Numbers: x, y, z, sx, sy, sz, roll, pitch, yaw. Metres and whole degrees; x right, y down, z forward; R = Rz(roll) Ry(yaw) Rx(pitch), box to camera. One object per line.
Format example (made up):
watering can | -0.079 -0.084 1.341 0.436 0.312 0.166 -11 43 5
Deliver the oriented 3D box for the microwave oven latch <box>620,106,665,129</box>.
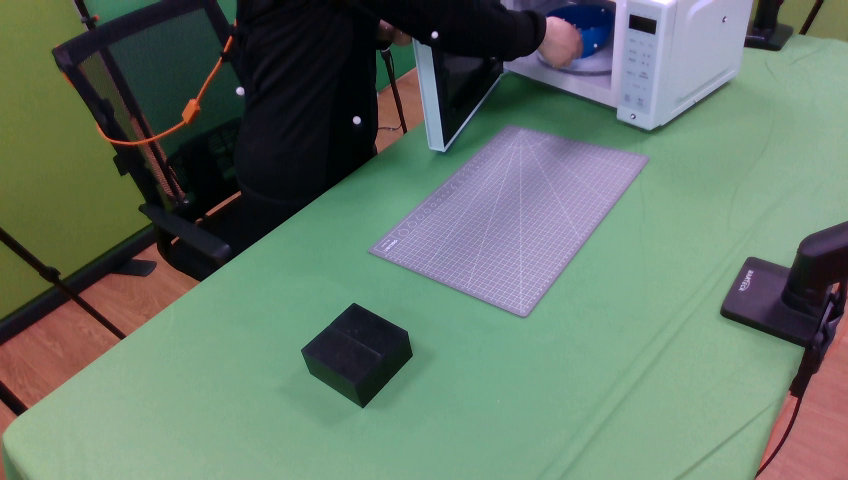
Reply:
microwave oven latch | 0.413 -0.237 1.146 0.030 0.029 0.078 -32 44 -23

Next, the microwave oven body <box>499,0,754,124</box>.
microwave oven body | 0.402 -0.458 1.259 0.327 0.261 0.437 -33 45 -24

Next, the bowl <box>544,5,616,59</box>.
bowl | 0.332 -0.441 1.302 0.151 0.077 0.150 -3 39 3

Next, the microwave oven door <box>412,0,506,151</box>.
microwave oven door | 0.083 -0.377 1.218 0.039 0.245 0.356 12 44 24
